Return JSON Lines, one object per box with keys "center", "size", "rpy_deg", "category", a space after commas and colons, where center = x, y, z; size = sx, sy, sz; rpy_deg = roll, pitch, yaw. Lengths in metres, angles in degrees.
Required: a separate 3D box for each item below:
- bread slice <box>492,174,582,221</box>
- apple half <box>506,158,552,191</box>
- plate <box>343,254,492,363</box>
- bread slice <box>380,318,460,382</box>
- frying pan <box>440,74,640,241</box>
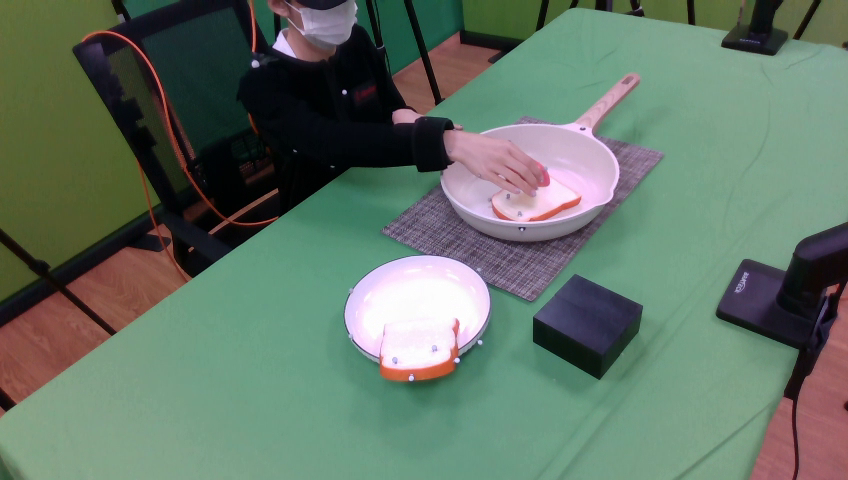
{"center": [0.183, -0.068, 1.015], "size": [0.135, 0.018, 0.106], "rpy_deg": [-30, 45, -22], "category": "bread slice"}
{"center": [0.170, -0.114, 0.980], "size": [0.081, 0.033, 0.081], "rpy_deg": [5, 42, -4], "category": "apple half"}
{"center": [-0.008, 0.100, 0.847], "size": [0.207, 0.039, 0.206], "rpy_deg": [-4, 40, 4], "category": "plate"}
{"center": [-0.005, 0.137, 0.770], "size": [0.105, 0.019, 0.131], "rpy_deg": [-6, 19, 4], "category": "bread slice"}
{"center": [0.245, -0.161, 1.059], "size": [0.304, 0.103, 0.489], "rpy_deg": [30, 61, 35], "category": "frying pan"}
